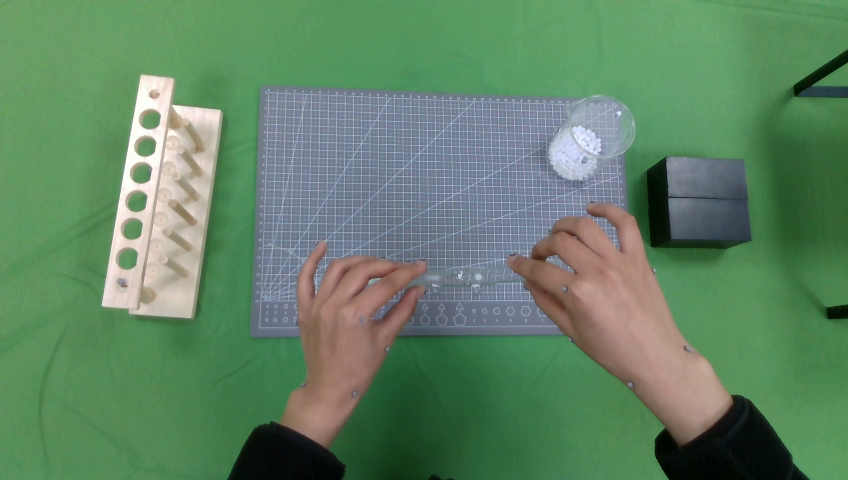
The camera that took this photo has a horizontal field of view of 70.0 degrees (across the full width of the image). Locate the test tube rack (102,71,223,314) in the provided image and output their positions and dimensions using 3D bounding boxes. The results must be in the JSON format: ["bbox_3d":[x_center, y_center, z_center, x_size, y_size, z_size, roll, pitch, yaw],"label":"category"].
[{"bbox_3d":[-0.275,-0.047,0.651,0.067,0.085,0.241,5,79,-5],"label":"test tube rack"}]

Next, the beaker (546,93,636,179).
[{"bbox_3d":[0.187,-0.119,0.709,0.084,0.100,0.074,32,77,2],"label":"beaker"}]

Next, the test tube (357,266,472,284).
[{"bbox_3d":[-0.014,0.033,0.567,0.017,0.149,0.017,3,85,-43],"label":"test tube"}]

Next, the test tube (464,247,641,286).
[{"bbox_3d":[0.109,0.022,0.512,0.150,0.017,0.017,-7,80,-1],"label":"test tube"}]
